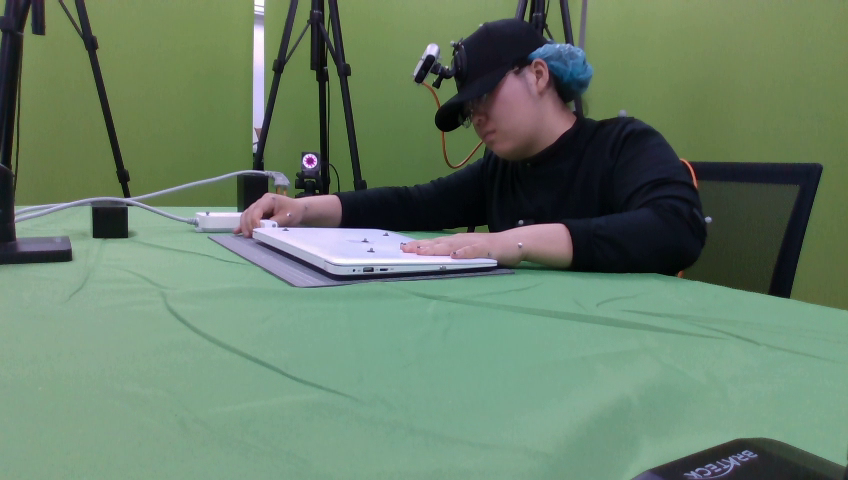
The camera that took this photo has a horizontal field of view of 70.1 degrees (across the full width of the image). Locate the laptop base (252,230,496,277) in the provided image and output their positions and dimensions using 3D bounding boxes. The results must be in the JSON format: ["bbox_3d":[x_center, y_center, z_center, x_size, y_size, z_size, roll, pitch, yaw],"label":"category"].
[{"bbox_3d":[-0.089,0.017,0.876,0.237,0.023,0.352,2,6,-32],"label":"laptop base"}]

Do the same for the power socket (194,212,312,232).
[{"bbox_3d":[-0.322,-0.036,1.152,0.228,0.032,0.072,-2,7,-34],"label":"power socket"}]

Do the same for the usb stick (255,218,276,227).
[{"bbox_3d":[-0.258,-0.019,0.996,0.021,0.027,0.059,-6,17,-32],"label":"usb stick"}]

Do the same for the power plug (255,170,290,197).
[{"bbox_3d":[-0.322,-0.119,1.283,0.073,0.052,0.035,2,-14,-13],"label":"power plug"}]

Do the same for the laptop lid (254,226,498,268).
[{"bbox_3d":[-0.086,0.007,0.876,0.243,0.013,0.355,2,7,-30],"label":"laptop lid"}]
